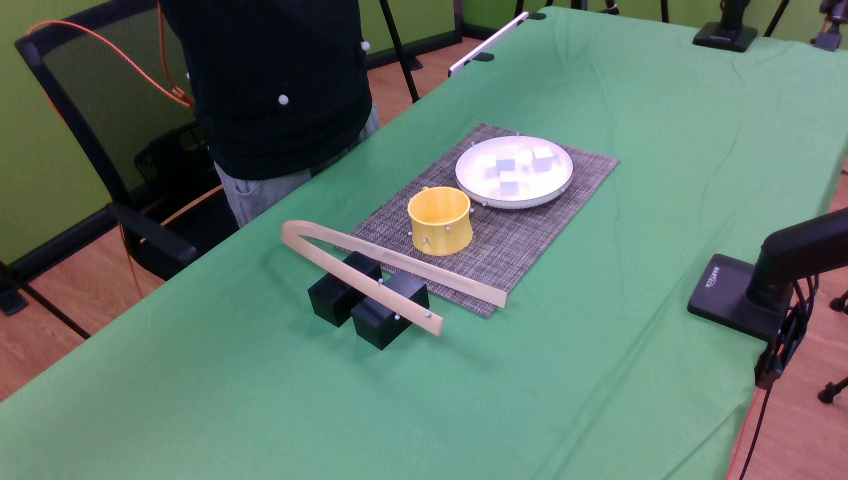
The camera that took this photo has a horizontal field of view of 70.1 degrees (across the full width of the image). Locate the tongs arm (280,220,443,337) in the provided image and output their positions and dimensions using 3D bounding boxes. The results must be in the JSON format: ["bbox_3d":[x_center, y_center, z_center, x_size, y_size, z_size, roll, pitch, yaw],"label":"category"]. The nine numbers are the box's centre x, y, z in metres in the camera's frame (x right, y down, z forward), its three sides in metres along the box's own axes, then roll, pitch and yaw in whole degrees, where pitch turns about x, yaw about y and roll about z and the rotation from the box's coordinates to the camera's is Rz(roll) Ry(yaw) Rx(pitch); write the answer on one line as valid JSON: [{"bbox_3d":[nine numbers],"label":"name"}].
[{"bbox_3d":[-0.101,0.043,0.861,0.381,0.026,0.051,24,24,38],"label":"tongs arm"}]

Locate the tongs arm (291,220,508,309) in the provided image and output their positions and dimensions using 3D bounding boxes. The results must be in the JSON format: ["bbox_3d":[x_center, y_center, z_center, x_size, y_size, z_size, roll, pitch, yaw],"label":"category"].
[{"bbox_3d":[-0.049,0.031,0.924,0.385,0.028,0.028,18,25,26],"label":"tongs arm"}]

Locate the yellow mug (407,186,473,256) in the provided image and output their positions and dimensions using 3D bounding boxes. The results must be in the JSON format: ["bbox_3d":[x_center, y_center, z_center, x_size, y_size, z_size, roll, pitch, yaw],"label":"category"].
[{"bbox_3d":[0.021,-0.041,0.973,0.100,0.064,0.129,-19,41,-12],"label":"yellow mug"}]

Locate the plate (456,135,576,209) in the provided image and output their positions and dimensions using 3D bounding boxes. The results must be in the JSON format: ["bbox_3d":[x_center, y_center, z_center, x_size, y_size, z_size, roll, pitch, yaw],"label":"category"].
[{"bbox_3d":[0.161,-0.116,1.064,0.207,0.039,0.206,-4,40,4],"label":"plate"}]
